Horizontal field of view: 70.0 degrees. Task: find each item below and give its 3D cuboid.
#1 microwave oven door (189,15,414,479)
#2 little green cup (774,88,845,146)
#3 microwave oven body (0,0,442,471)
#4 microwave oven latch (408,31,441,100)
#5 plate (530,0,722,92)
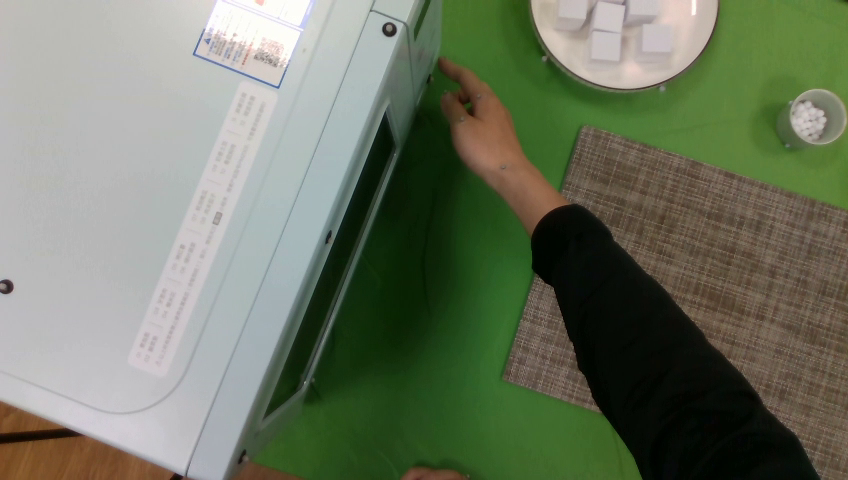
[{"bbox_3d":[-0.092,0.009,0.543,0.039,0.244,0.355,21,88,1],"label":"microwave oven door"},{"bbox_3d":[0.422,-0.133,0.668,0.061,0.038,0.061,0,87,0],"label":"little green cup"},{"bbox_3d":[-0.211,-0.084,0.552,0.326,0.260,0.441,22,88,1],"label":"microwave oven body"},{"bbox_3d":[-0.008,-0.190,0.652,0.030,0.029,0.079,26,89,1],"label":"microwave oven latch"},{"bbox_3d":[0.220,-0.264,0.674,0.208,0.039,0.207,0,88,0],"label":"plate"}]
